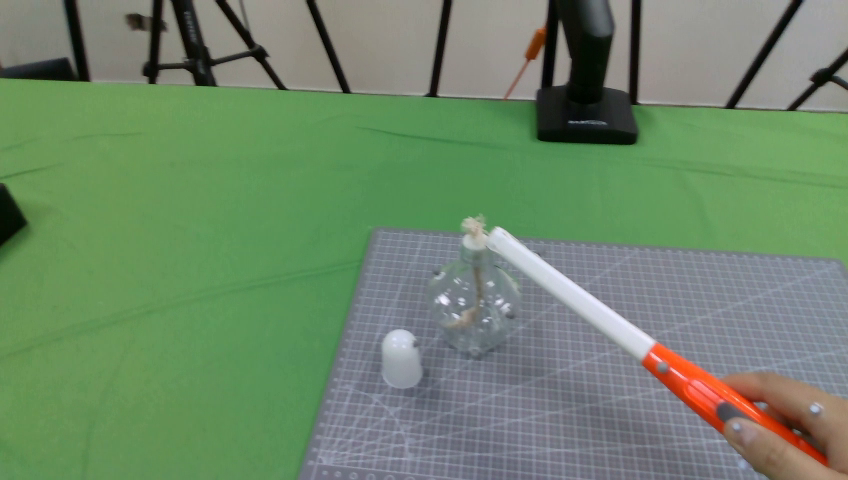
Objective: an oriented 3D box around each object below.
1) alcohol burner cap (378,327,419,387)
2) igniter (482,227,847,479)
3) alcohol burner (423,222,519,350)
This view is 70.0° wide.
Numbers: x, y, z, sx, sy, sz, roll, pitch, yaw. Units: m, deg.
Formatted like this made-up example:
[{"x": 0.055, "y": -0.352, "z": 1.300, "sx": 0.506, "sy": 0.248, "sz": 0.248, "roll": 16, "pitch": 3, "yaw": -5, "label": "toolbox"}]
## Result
[{"x": -0.021, "y": 0.087, "z": 0.468, "sx": 0.034, "sy": 0.048, "sz": 0.033, "roll": 0, "pitch": 42, "yaw": 0, "label": "alcohol burner cap"}, {"x": 0.143, "y": 0.074, "z": 0.360, "sx": 0.274, "sy": 0.058, "sz": 0.025, "roll": 39, "pitch": 97, "yaw": 30, "label": "igniter"}, {"x": 0.038, "y": 0.031, "z": 0.477, "sx": 0.078, "sy": 0.120, "sz": 0.077, "roll": 1, "pitch": 43, "yaw": 0, "label": "alcohol burner"}]
